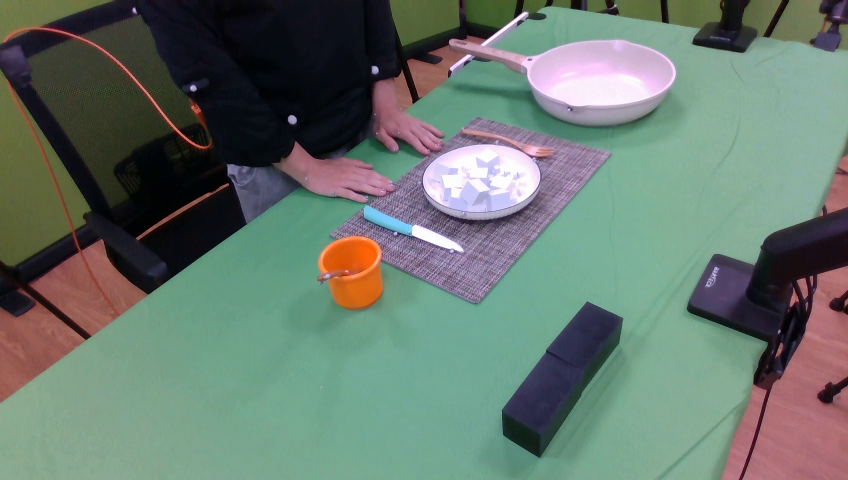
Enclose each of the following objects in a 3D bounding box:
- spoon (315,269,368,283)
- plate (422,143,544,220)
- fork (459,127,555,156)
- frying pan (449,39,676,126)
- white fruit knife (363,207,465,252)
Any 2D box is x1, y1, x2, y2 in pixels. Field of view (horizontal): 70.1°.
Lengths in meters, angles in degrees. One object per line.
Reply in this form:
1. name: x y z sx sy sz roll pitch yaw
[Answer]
1. spoon: -0.116 0.049 0.831 0.041 0.194 0.021 -3 85 9
2. plate: 0.102 -0.097 1.049 0.207 0.039 0.206 -4 40 4
3. fork: 0.156 -0.192 1.165 0.206 0.019 0.028 22 60 27
4. frying pan: 0.272 -0.362 1.287 0.485 0.103 0.307 23 48 19
5. white fruit knife: -0.022 -0.016 0.990 0.206 0.016 0.027 21 52 28
